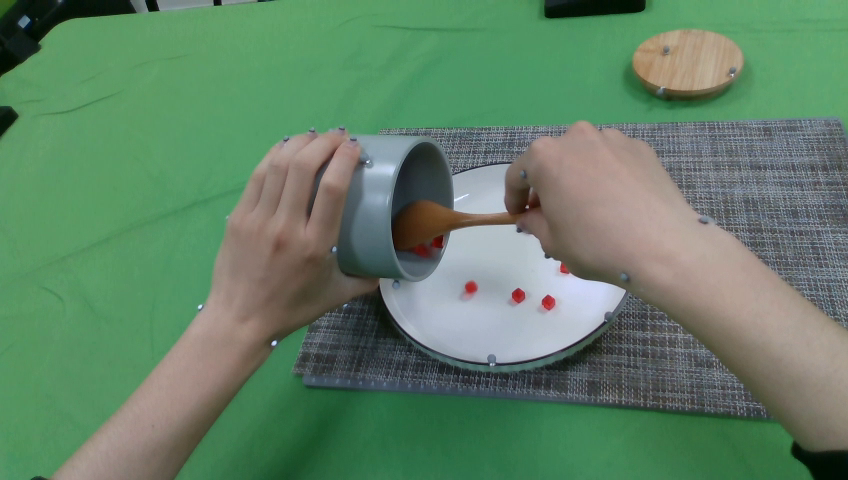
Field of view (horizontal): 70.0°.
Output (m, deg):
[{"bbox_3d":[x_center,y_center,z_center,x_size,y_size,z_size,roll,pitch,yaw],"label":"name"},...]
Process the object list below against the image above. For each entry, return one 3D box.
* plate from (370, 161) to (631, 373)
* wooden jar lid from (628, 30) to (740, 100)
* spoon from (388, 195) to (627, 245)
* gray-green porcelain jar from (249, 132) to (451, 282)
[{"bbox_3d":[0.061,0.020,0.500,0.207,0.039,0.205,-6,50,8],"label":"plate"},{"bbox_3d":[0.271,-0.183,0.636,0.108,0.021,0.107,-6,51,8],"label":"wooden jar lid"},{"bbox_3d":[0.048,-0.018,0.429,0.192,0.022,0.041,-2,57,34],"label":"spoon"},{"bbox_3d":[-0.057,-0.028,0.458,0.126,0.107,0.105,7,53,25],"label":"gray-green porcelain jar"}]
